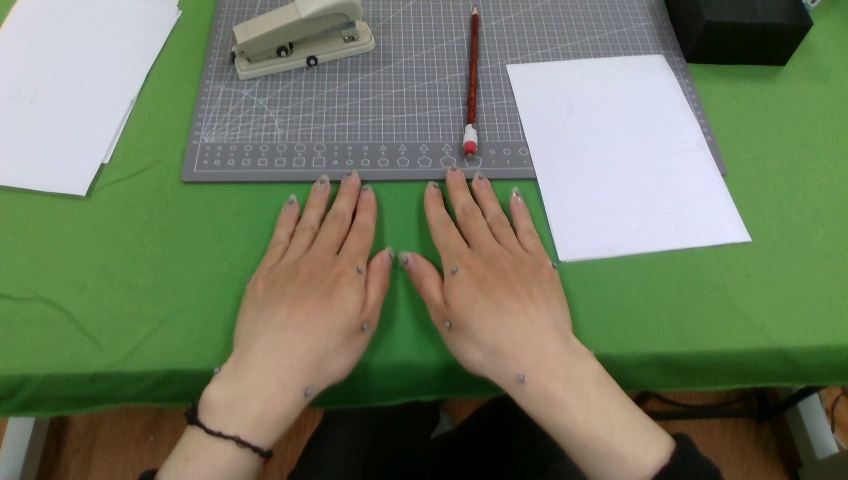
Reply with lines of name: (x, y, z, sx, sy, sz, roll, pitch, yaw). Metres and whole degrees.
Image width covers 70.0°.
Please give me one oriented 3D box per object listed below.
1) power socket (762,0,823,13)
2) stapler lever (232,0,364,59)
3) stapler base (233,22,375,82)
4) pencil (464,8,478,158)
power socket: (0.334, -0.321, 0.661, 0.072, 0.033, 0.225, -39, 67, -23)
stapler lever: (-0.111, -0.193, 0.535, 0.118, 0.040, 0.026, -17, 59, -12)
stapler base: (-0.110, -0.181, 0.556, 0.131, 0.024, 0.041, -18, 60, -11)
pencil: (0.044, -0.151, 0.554, 0.012, 0.012, 0.192, 4, 57, 0)
